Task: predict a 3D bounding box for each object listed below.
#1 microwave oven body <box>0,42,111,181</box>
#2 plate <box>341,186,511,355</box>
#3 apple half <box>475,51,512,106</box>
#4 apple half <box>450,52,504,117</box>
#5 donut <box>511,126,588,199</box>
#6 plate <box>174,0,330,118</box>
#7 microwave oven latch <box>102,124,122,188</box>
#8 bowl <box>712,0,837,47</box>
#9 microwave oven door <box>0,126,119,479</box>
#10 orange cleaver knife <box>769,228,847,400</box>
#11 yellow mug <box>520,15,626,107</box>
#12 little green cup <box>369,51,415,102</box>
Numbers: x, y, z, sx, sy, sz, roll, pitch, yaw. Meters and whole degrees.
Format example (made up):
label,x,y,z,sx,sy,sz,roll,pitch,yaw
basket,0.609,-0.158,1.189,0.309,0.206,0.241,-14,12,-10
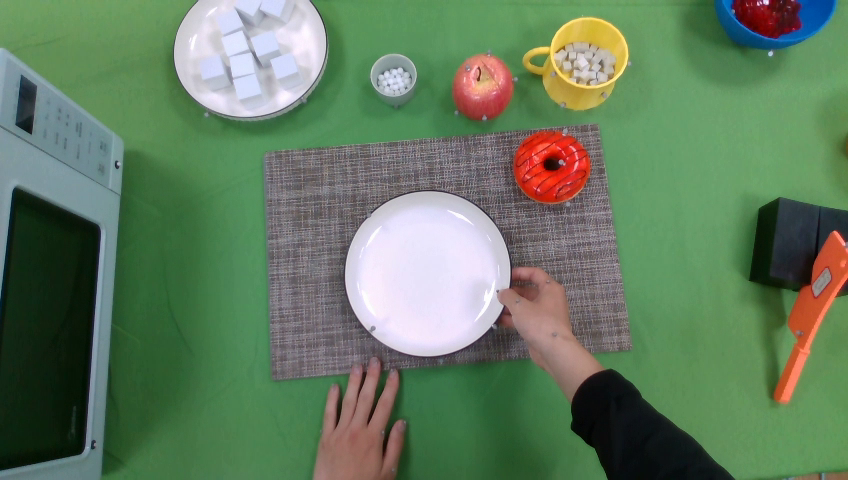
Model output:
label,x,y,z,sx,sy,sz,roll,pitch,yaw
microwave oven body,-0.554,0.050,0.650,0.326,0.261,0.439,-2,79,0
plate,0.003,0.037,0.752,0.209,0.038,0.208,-1,80,6
apple half,0.096,-0.215,0.794,0.033,0.081,0.081,-32,79,-1
apple half,0.062,-0.195,0.791,0.053,0.075,0.080,-31,83,-1
donut,0.161,-0.100,0.780,0.099,0.048,0.098,0,79,3
plate,-0.230,-0.260,0.826,0.208,0.039,0.206,0,78,1
microwave oven latch,-0.409,-0.108,0.779,0.030,0.029,0.079,0,79,0
bowl,0.450,-0.316,0.807,0.151,0.077,0.150,0,79,2
microwave oven door,-0.407,0.085,0.636,0.039,0.245,0.354,-2,78,1
orange cleaver knife,0.451,0.089,0.718,0.012,0.077,0.212,14,111,6
yellow mug,0.193,-0.236,0.801,0.131,0.064,0.099,6,78,3
little green cup,-0.041,-0.217,0.815,0.061,0.039,0.061,0,78,1
